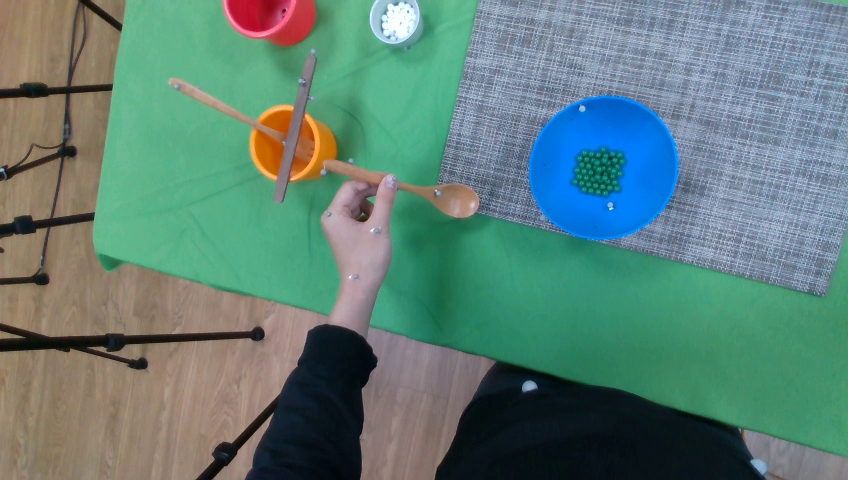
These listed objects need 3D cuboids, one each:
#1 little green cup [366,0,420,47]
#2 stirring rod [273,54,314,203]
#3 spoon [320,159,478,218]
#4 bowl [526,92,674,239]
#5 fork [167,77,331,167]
[{"bbox_3d":[-0.035,-0.264,0.731,0.061,0.039,0.061,1,94,15],"label":"little green cup"},{"bbox_3d":[-0.153,-0.129,0.711,0.014,0.006,0.176,16,98,13],"label":"stirring rod"},{"bbox_3d":[-0.023,-0.061,0.675,0.195,0.021,0.042,13,115,-30],"label":"spoon"},{"bbox_3d":[0.191,-0.078,0.666,0.151,0.077,0.151,1,94,14],"label":"bowl"},{"bbox_3d":[-0.204,-0.139,0.725,0.209,0.018,0.028,25,105,-33],"label":"fork"}]
